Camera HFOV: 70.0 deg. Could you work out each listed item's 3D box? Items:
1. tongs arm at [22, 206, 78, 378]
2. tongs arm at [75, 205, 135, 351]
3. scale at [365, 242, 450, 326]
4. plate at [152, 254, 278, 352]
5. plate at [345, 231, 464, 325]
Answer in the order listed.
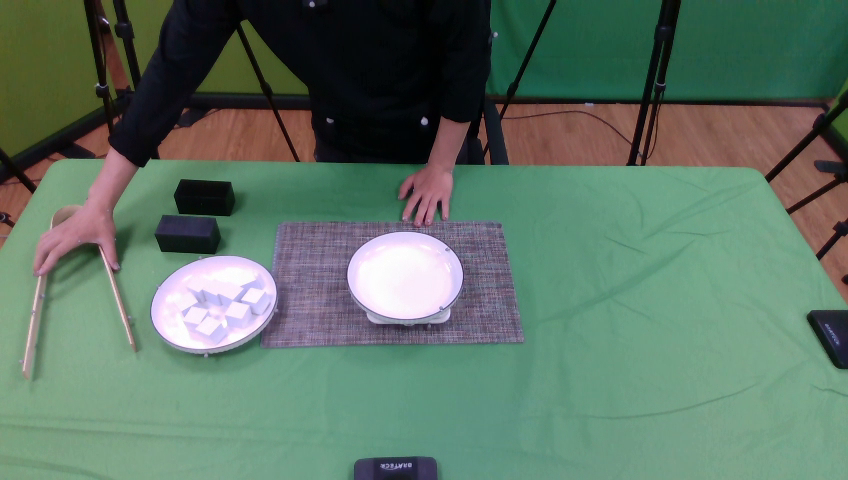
[{"bbox_3d":[-0.652,0.074,1.066,0.051,0.026,0.382,-11,46,-14],"label":"tongs arm"},{"bbox_3d":[-0.575,0.056,1.093,0.028,0.028,0.385,-25,51,-21],"label":"tongs arm"},{"bbox_3d":[-0.032,0.071,1.113,0.149,0.032,0.199,0,46,-4],"label":"scale"},{"bbox_3d":[-0.357,0.111,1.052,0.208,0.039,0.206,2,46,-2],"label":"plate"},{"bbox_3d":[-0.034,0.069,1.069,0.209,0.038,0.208,2,46,-2],"label":"plate"}]
